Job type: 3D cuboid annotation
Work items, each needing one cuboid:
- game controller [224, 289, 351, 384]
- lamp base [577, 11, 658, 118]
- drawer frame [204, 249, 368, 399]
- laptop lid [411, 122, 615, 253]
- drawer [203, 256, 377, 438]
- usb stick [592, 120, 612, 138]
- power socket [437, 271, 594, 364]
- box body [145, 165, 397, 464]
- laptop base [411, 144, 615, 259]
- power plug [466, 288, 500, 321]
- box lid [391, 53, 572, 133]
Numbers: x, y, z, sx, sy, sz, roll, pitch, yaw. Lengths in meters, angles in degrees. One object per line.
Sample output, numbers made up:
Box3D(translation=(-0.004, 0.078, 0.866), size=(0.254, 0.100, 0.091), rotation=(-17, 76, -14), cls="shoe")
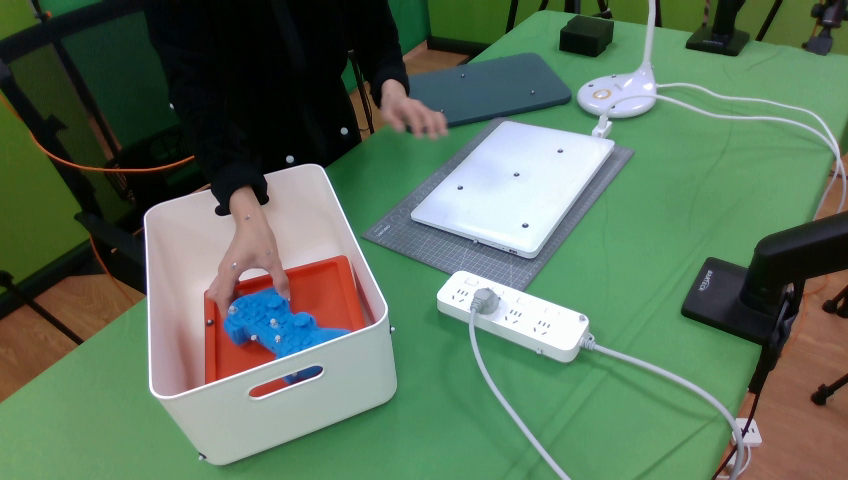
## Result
Box3D(translation=(-0.168, 0.107, 0.729), size=(0.154, 0.052, 0.097), rotation=(27, 49, 29), cls="game controller")
Box3D(translation=(0.406, -0.363, 1.223), size=(0.180, 0.181, 0.159), rotation=(-20, 42, -18), cls="lamp base")
Box3D(translation=(-0.173, 0.129, 0.791), size=(0.202, 0.083, 0.212), rotation=(-16, 45, -8), cls="drawer frame")
Box3D(translation=(0.164, -0.112, 1.068), size=(0.240, 0.013, 0.357), rotation=(19, 46, 31), cls="laptop lid")
Box3D(translation=(-0.178, 0.130, 0.786), size=(0.195, 0.073, 0.210), rotation=(-14, 39, -9), cls="drawer")
Box3D(translation=(0.335, -0.203, 1.149), size=(0.021, 0.027, 0.059), rotation=(25, 53, 26), cls="usb stick")
Box3D(translation=(0.118, 0.102, 0.830), size=(0.225, 0.033, 0.072), rotation=(20, 48, 28), cls="power socket")
Box3D(translation=(-0.205, 0.080, 0.802), size=(0.255, 0.161, 0.361), rotation=(-18, 41, -13), cls="box body")
Box3D(translation=(0.167, -0.102, 1.074), size=(0.234, 0.023, 0.355), rotation=(17, 46, 30), cls="laptop base")
Box3D(translation=(0.072, 0.093, 0.813), size=(0.035, 0.053, 0.073), rotation=(31, 54, 35), cls="power plug")
Box3D(translation=(0.123, -0.339, 1.366), size=(0.372, 0.015, 0.261), rotation=(-12, 40, -5), cls="box lid")
